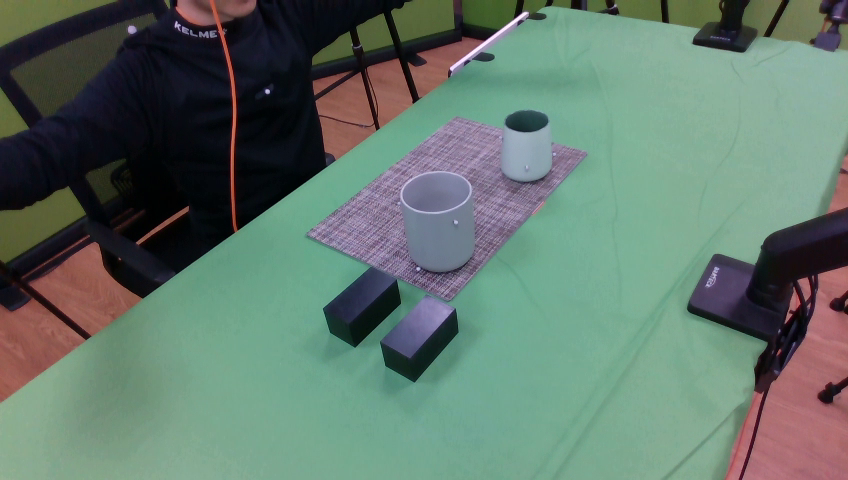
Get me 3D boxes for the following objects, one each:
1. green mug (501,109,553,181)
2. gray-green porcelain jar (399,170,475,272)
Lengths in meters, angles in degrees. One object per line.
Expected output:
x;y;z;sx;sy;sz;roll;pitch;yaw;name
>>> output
0.177;-0.177;1.079;0.093;0.105;0.124;-13;41;-6;green mug
0.023;-0.024;0.907;0.106;0.127;0.105;-4;41;4;gray-green porcelain jar
